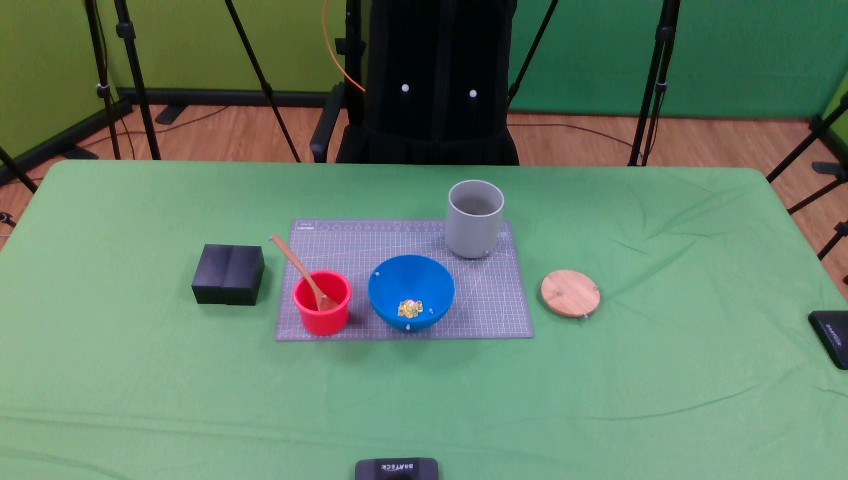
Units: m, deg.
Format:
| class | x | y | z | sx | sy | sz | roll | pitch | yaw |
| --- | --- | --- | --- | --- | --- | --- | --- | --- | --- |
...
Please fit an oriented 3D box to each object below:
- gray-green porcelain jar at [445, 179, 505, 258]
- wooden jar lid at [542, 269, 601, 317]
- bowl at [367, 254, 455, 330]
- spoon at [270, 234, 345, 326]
| class | x | y | z | sx | sy | sz | roll | pitch | yaw |
| --- | --- | --- | --- | --- | --- | --- | --- | --- | --- |
| gray-green porcelain jar | 0.095 | -0.037 | 1.162 | 0.106 | 0.127 | 0.105 | 2 | 46 | -2 |
| wooden jar lid | 0.272 | 0.100 | 1.121 | 0.108 | 0.021 | 0.107 | 3 | 47 | -3 |
| bowl | -0.023 | 0.104 | 1.053 | 0.151 | 0.077 | 0.150 | 2 | 46 | -2 |
| spoon | -0.198 | 0.067 | 1.031 | 0.041 | 0.021 | 0.194 | -43 | 106 | -38 |
